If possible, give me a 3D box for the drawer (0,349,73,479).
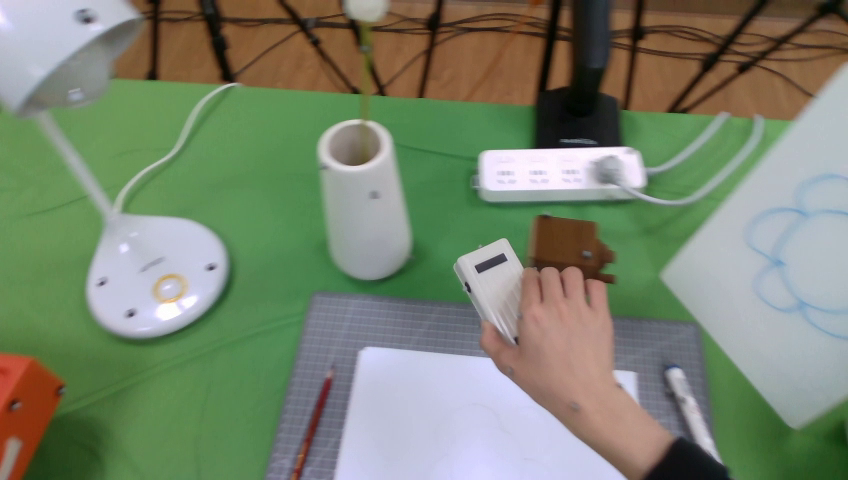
[{"bbox_3d":[-0.468,0.184,0.544,0.211,0.074,0.193,7,58,5],"label":"drawer"}]

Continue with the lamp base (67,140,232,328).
[{"bbox_3d":[-0.322,-0.016,0.665,0.178,0.182,0.160,34,63,24],"label":"lamp base"}]

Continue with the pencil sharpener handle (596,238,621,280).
[{"bbox_3d":[0.206,0.022,0.662,0.030,0.068,0.035,7,56,5],"label":"pencil sharpener handle"}]

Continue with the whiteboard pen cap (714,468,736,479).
[{"bbox_3d":[0.292,0.236,0.581,0.018,0.018,0.033,-10,56,-5],"label":"whiteboard pen cap"}]

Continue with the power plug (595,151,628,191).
[{"bbox_3d":[0.232,-0.080,0.758,0.035,0.053,0.072,8,59,7],"label":"power plug"}]

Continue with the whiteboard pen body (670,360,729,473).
[{"bbox_3d":[0.283,0.188,0.615,0.017,0.017,0.139,-9,57,-4],"label":"whiteboard pen body"}]

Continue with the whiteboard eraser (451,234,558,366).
[{"bbox_3d":[0.072,0.053,0.553,0.056,0.042,0.112,-21,70,-16],"label":"whiteboard eraser"}]

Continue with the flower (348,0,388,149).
[{"bbox_3d":[-0.056,-0.104,0.609,0.038,0.365,0.043,-5,39,-10],"label":"flower"}]

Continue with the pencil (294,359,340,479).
[{"bbox_3d":[-0.116,0.208,0.616,0.012,0.012,0.192,11,56,9],"label":"pencil"}]

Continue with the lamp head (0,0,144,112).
[{"bbox_3d":[-0.280,-0.166,0.417,0.123,0.112,0.112,46,62,-16],"label":"lamp head"}]

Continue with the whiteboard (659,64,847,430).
[{"bbox_3d":[0.431,0.007,0.601,0.144,0.307,0.215,-13,55,-30],"label":"whiteboard"}]

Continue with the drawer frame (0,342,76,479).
[{"bbox_3d":[-0.475,0.186,0.546,0.213,0.083,0.200,8,58,4],"label":"drawer frame"}]

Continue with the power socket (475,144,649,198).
[{"bbox_3d":[0.181,-0.091,0.794,0.227,0.033,0.071,0,58,0],"label":"power socket"}]

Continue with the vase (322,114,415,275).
[{"bbox_3d":[-0.063,-0.044,0.669,0.098,0.202,0.097,-1,56,2],"label":"vase"}]

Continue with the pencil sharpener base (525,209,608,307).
[{"bbox_3d":[0.156,0.023,0.676,0.076,0.108,0.061,7,57,5],"label":"pencil sharpener base"}]
